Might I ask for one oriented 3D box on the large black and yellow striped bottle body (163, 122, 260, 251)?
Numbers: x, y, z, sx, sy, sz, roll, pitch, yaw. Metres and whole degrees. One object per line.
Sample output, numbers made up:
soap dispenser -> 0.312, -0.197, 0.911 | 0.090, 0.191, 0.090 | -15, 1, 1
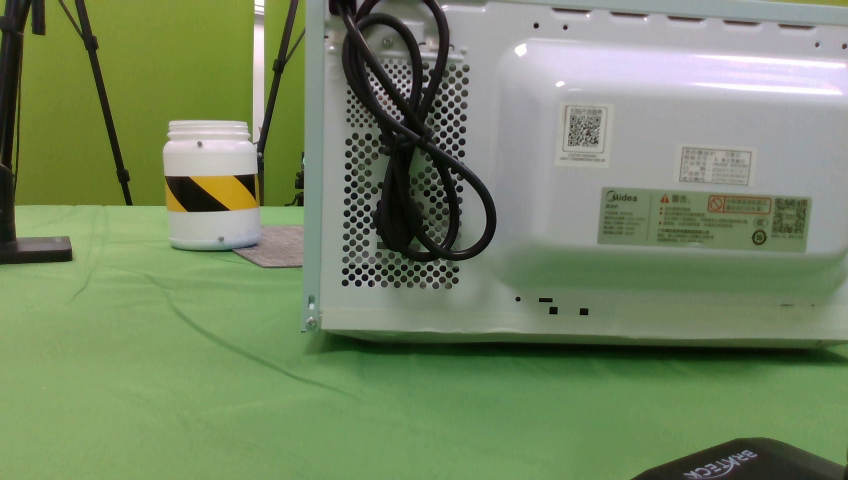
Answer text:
large black and yellow striped bottle body -> -0.317, -0.083, 0.907 | 0.131, 0.184, 0.130 | 0, 9, 0

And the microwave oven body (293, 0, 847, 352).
microwave oven body -> 0.122, -0.055, 0.550 | 0.442, 0.260, 0.325 | 3, 7, -5

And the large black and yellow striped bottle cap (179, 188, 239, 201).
large black and yellow striped bottle cap -> -0.434, -0.093, 1.226 | 0.115, 0.019, 0.115 | 3, 9, 0

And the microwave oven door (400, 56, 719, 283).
microwave oven door -> 0.155, -0.077, 0.698 | 0.356, 0.243, 0.039 | 2, 8, -5

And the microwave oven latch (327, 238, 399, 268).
microwave oven latch -> -0.069, 0.015, 0.694 | 0.079, 0.029, 0.030 | 3, 7, -3

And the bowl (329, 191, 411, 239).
bowl -> -0.099, -0.046, 1.104 | 0.151, 0.077, 0.151 | 3, 8, 0
